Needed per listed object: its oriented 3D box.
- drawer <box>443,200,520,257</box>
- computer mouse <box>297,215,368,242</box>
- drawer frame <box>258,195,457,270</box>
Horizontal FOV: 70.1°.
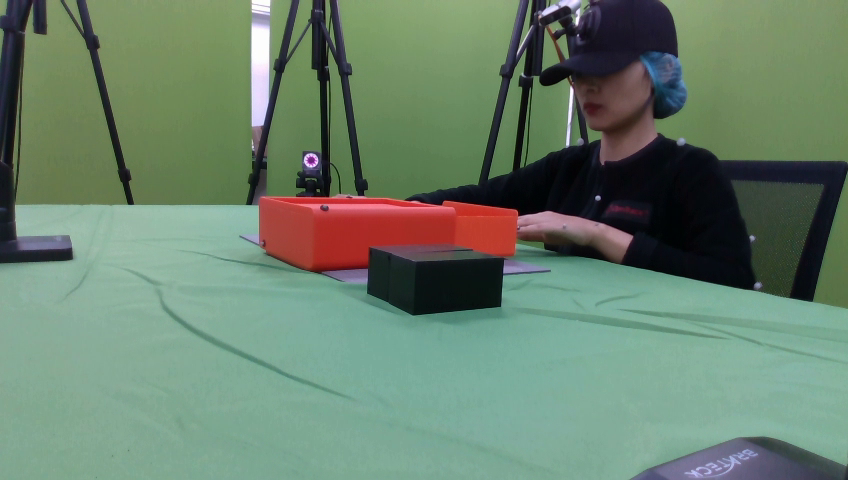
[{"bbox_3d":[0.002,-0.020,0.909,0.213,0.073,0.193,-3,9,-33],"label":"drawer"},{"bbox_3d":[-0.156,-0.021,1.032,0.118,0.041,0.062,-9,15,-43],"label":"computer mouse"},{"bbox_3d":[-0.095,-0.018,0.845,0.215,0.082,0.200,-3,10,-34],"label":"drawer frame"}]
